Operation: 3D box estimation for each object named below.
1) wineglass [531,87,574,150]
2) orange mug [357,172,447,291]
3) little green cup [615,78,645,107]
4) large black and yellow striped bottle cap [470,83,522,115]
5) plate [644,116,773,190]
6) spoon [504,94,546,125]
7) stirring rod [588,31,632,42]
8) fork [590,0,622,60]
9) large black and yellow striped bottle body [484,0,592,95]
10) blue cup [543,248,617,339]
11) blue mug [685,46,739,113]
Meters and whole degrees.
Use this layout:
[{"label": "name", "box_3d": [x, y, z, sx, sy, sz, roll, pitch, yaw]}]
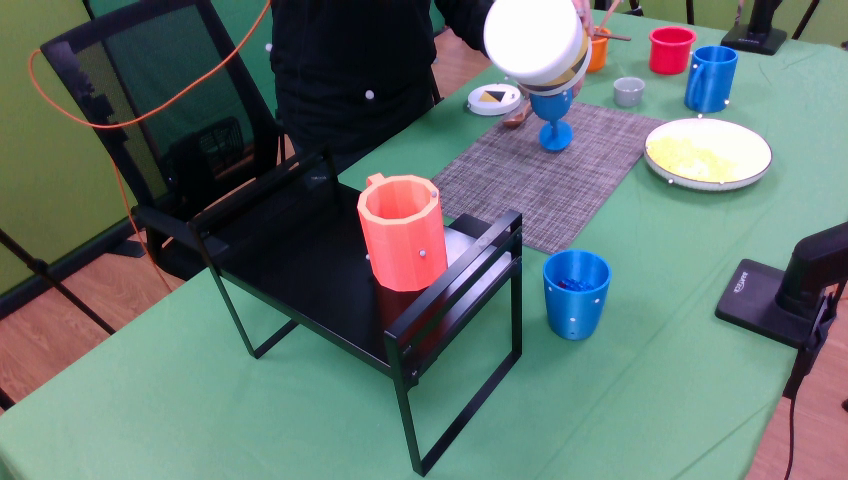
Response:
[{"label": "wineglass", "box_3d": [0.231, -0.231, 1.077, 0.073, 0.173, 0.073, -5, 68, 14]}, {"label": "orange mug", "box_3d": [-0.030, -0.018, 0.669, 0.084, 0.101, 0.125, -23, 47, -16]}, {"label": "little green cup", "box_3d": [0.426, -0.306, 1.257, 0.061, 0.039, 0.061, -4, 40, 4]}, {"label": "large black and yellow striped bottle cap", "box_3d": [0.156, -0.307, 1.316, 0.115, 0.019, 0.114, -7, 39, 6]}, {"label": "plate", "box_3d": [0.495, -0.149, 1.063, 0.209, 0.038, 0.208, -5, 40, 4]}, {"label": "spoon", "box_3d": [0.227, -0.285, 1.269, 0.041, 0.022, 0.194, 1, 36, 45]}, {"label": "stirring rod", "box_3d": [0.381, -0.463, 1.356, 0.175, 0.006, 0.014, 22, 47, 30]}, {"label": "fork", "box_3d": [0.409, -0.484, 1.381, 0.028, 0.019, 0.207, 37, 101, 45]}, {"label": "large black and yellow striped bottle body", "box_3d": [0.178, -0.292, 0.908, 0.130, 0.130, 0.185, 13, 7, 23]}, {"label": "blue cup", "box_3d": [0.199, 0.076, 0.797, 0.092, 0.100, 0.092, -4, 39, 4]}, {"label": "blue mug", "box_3d": [0.556, -0.311, 1.190, 0.117, 0.106, 0.081, -32, 46, -25]}]
